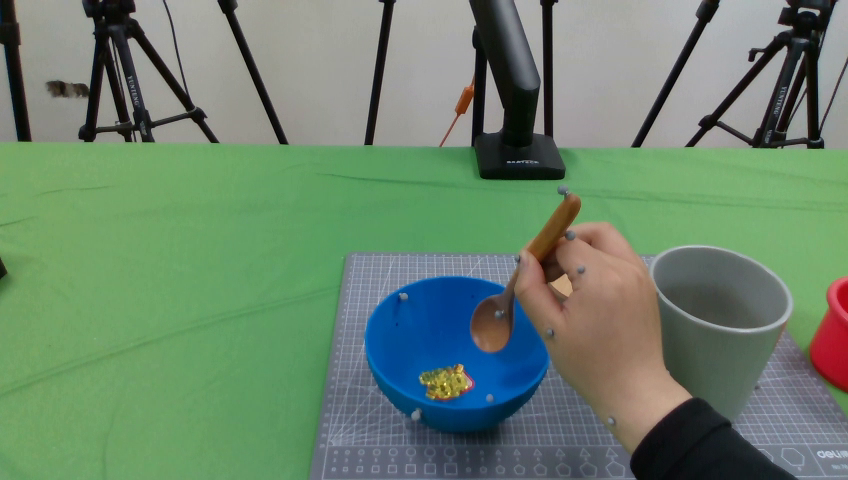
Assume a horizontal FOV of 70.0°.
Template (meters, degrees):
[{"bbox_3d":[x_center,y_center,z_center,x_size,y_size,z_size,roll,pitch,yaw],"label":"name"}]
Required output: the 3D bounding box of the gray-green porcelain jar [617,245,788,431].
[{"bbox_3d":[0.221,0.085,0.499,0.106,0.127,0.105,1,36,0],"label":"gray-green porcelain jar"}]

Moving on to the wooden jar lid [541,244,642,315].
[{"bbox_3d":[0.178,0.043,0.648,0.108,0.021,0.107,1,35,0],"label":"wooden jar lid"}]

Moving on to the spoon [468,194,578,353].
[{"bbox_3d":[0.064,0.030,0.420,0.022,0.195,0.041,-18,64,-20],"label":"spoon"}]

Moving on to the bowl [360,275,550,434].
[{"bbox_3d":[0.024,0.106,0.503,0.151,0.077,0.150,1,36,0],"label":"bowl"}]
